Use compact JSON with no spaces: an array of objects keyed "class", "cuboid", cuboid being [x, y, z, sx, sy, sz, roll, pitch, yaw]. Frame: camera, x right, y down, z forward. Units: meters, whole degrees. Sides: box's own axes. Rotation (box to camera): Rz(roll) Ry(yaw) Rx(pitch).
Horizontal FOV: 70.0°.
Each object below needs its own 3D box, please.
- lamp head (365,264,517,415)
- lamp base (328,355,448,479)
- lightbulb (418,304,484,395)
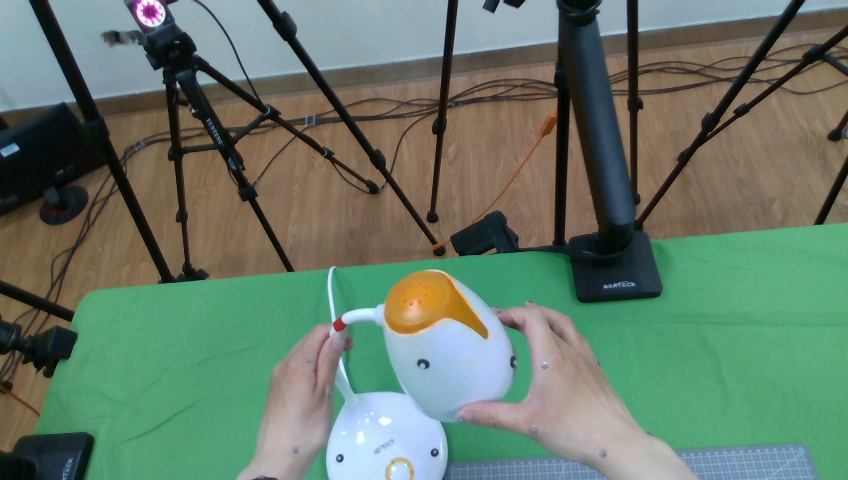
[{"class":"lamp head","cuboid":[0.010,0.078,0.534,0.112,0.124,0.111,-19,42,18]},{"class":"lamp base","cuboid":[-0.067,0.221,0.740,0.160,0.182,0.177,-39,56,-17]},{"class":"lightbulb","cuboid":[0.019,0.096,0.545,0.059,0.109,0.059,-11,42,11]}]
